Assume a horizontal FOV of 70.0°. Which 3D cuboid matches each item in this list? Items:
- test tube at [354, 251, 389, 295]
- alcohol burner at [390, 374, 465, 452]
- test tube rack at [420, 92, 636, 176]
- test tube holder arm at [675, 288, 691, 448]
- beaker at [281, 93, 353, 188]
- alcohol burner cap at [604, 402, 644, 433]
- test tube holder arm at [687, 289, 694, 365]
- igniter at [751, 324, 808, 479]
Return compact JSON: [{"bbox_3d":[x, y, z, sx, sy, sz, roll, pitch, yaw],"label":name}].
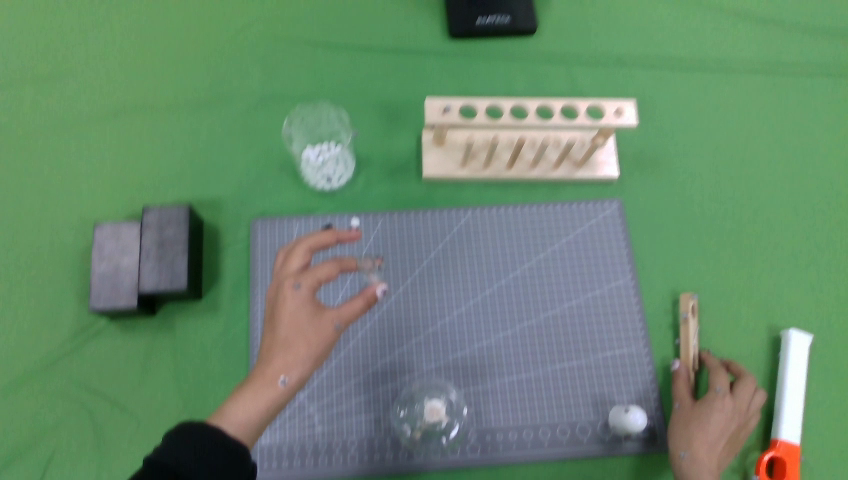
[{"bbox_3d":[-0.046,0.033,0.551,0.017,0.151,0.017,0,76,2],"label":"test tube"},{"bbox_3d":[0.005,0.172,0.606,0.078,0.119,0.077,2,72,-4],"label":"alcohol burner"},{"bbox_3d":[0.118,-0.124,0.721,0.242,0.085,0.066,0,73,-3],"label":"test tube rack"},{"bbox_3d":[0.292,0.142,0.683,0.013,0.015,0.177,17,71,-29],"label":"test tube holder arm"},{"bbox_3d":[-0.118,-0.107,0.695,0.074,0.101,0.083,-1,73,-3],"label":"beaker"},{"bbox_3d":[0.217,0.190,0.651,0.034,0.048,0.033,1,72,-2],"label":"alcohol burner cap"},{"bbox_3d":[0.303,0.100,0.698,0.010,0.015,0.087,18,71,-29],"label":"test tube holder arm"},{"bbox_3d":[0.387,0.227,0.660,0.057,0.025,0.275,20,73,-7],"label":"igniter"}]
